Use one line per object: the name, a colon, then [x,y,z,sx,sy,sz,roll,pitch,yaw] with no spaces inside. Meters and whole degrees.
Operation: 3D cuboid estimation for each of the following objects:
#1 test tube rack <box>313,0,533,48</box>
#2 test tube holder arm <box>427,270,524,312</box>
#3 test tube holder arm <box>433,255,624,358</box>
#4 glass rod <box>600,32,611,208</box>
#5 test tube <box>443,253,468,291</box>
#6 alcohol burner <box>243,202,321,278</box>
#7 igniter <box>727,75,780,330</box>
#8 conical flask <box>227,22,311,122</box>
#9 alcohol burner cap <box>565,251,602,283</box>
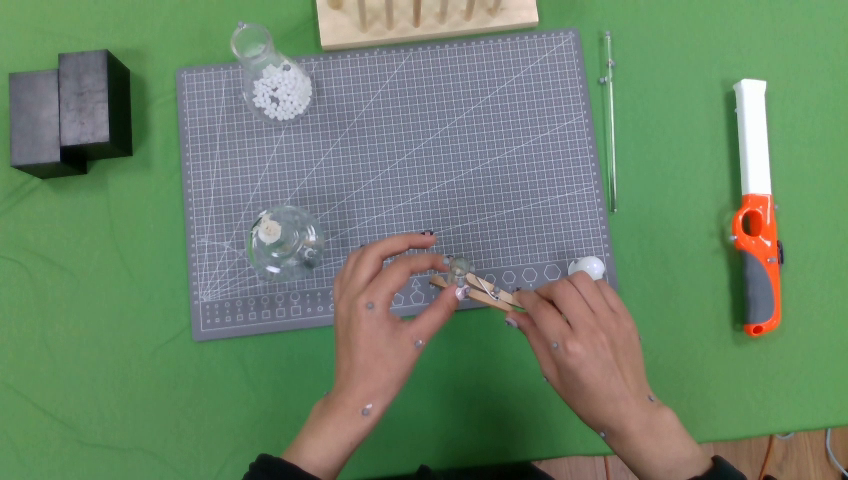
test tube rack: [-0.001,-0.268,0.646,0.242,0.085,0.066,-7,82,-2]
test tube holder arm: [0.045,0.044,0.521,0.088,0.015,0.010,19,85,4]
test tube holder arm: [0.088,0.057,0.519,0.178,0.015,0.013,25,86,4]
glass rod: [0.201,-0.133,0.670,0.008,0.008,0.199,0,85,-1]
test tube: [0.025,0.029,0.515,0.017,0.150,0.017,0,80,0]
alcohol burner: [-0.142,-0.003,0.591,0.078,0.119,0.077,0,81,1]
igniter: [0.351,-0.042,0.650,0.057,0.025,0.275,2,82,-11]
conical flask: [-0.161,-0.172,0.608,0.075,0.122,0.075,0,82,-1]
alcohol burner cap: [0.168,0.026,0.628,0.034,0.048,0.033,0,81,0]
